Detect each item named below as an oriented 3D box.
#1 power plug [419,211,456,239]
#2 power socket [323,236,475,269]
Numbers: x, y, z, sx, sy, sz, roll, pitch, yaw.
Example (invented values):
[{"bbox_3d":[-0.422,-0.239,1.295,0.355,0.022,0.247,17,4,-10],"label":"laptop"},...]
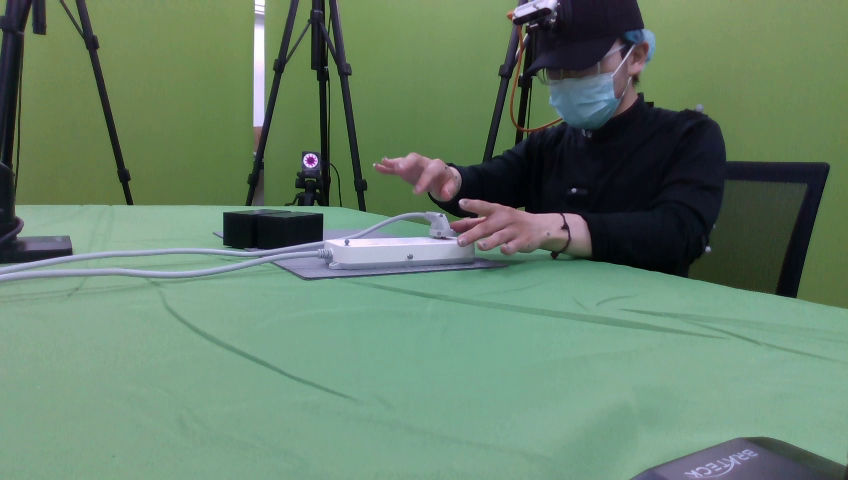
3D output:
[{"bbox_3d":[0.020,-0.015,0.884,0.035,0.052,0.072,-1,7,-20],"label":"power plug"},{"bbox_3d":[-0.030,0.014,0.822,0.228,0.032,0.072,-2,8,-31],"label":"power socket"}]
